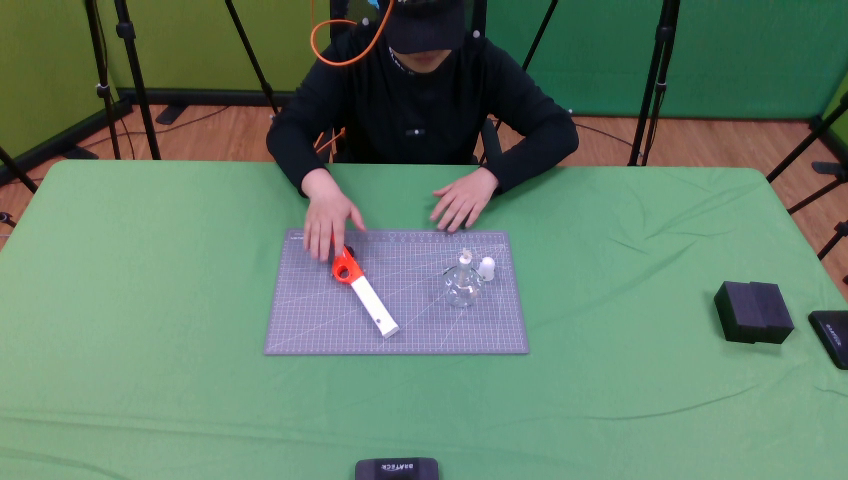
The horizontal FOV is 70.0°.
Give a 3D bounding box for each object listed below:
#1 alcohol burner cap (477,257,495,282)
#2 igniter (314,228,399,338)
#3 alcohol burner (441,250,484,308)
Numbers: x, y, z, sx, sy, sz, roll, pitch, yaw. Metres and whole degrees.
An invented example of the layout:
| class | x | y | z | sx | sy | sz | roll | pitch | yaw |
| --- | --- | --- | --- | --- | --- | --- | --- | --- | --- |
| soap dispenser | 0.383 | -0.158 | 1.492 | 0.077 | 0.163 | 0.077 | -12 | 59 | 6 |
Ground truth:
| class | x | y | z | sx | sy | sz | roll | pitch | yaw |
| --- | --- | --- | --- | --- | --- | --- | --- | --- | --- |
| alcohol burner cap | 0.118 | 0.053 | 1.139 | 0.034 | 0.048 | 0.033 | 2 | 46 | -2 |
| igniter | -0.129 | 0.069 | 1.111 | 0.057 | 0.025 | 0.275 | -36 | 57 | -5 |
| alcohol burner | 0.069 | 0.064 | 1.075 | 0.078 | 0.120 | 0.077 | 1 | 45 | -1 |
